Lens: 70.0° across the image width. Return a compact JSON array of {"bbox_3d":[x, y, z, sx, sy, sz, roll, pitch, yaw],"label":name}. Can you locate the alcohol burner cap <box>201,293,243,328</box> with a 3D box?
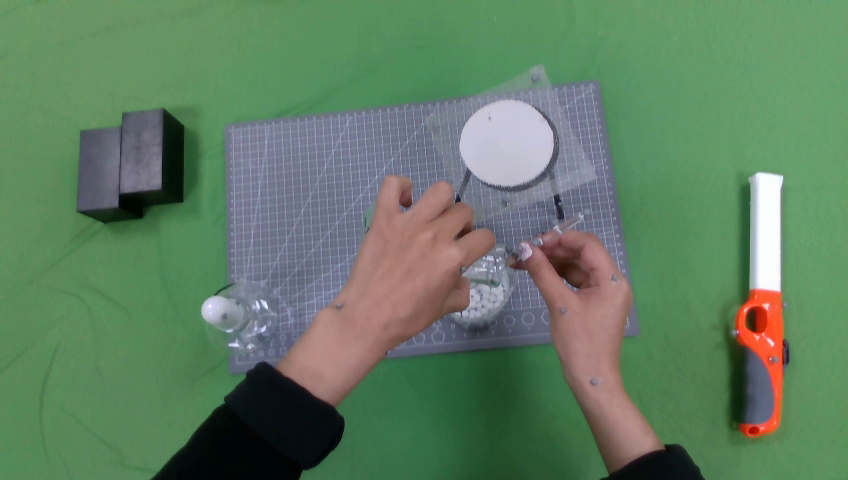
[{"bbox_3d":[-0.200,0.067,0.595,0.034,0.048,0.033,0,75,0],"label":"alcohol burner cap"}]

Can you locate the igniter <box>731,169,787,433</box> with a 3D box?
[{"bbox_3d":[0.350,0.060,0.632,0.057,0.025,0.275,8,79,-4],"label":"igniter"}]

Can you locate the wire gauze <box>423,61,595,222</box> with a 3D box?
[{"bbox_3d":[0.077,-0.091,0.562,0.125,0.011,0.121,-22,79,1],"label":"wire gauze"}]

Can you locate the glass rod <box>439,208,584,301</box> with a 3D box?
[{"bbox_3d":[0.067,0.018,0.529,0.008,0.200,0.008,16,58,-27],"label":"glass rod"}]

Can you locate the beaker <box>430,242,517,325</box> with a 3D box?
[{"bbox_3d":[0.051,0.048,0.622,0.084,0.101,0.073,-8,77,3],"label":"beaker"}]

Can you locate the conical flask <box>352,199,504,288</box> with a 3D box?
[{"bbox_3d":[0.004,0.011,0.510,0.122,0.075,0.075,10,78,-5],"label":"conical flask"}]

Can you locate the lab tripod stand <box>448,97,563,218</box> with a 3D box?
[{"bbox_3d":[0.084,-0.076,0.627,0.148,0.132,0.148,-1,79,6],"label":"lab tripod stand"}]

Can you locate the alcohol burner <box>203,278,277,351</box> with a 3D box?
[{"bbox_3d":[-0.198,0.076,0.630,0.078,0.119,0.077,-1,79,4],"label":"alcohol burner"}]
